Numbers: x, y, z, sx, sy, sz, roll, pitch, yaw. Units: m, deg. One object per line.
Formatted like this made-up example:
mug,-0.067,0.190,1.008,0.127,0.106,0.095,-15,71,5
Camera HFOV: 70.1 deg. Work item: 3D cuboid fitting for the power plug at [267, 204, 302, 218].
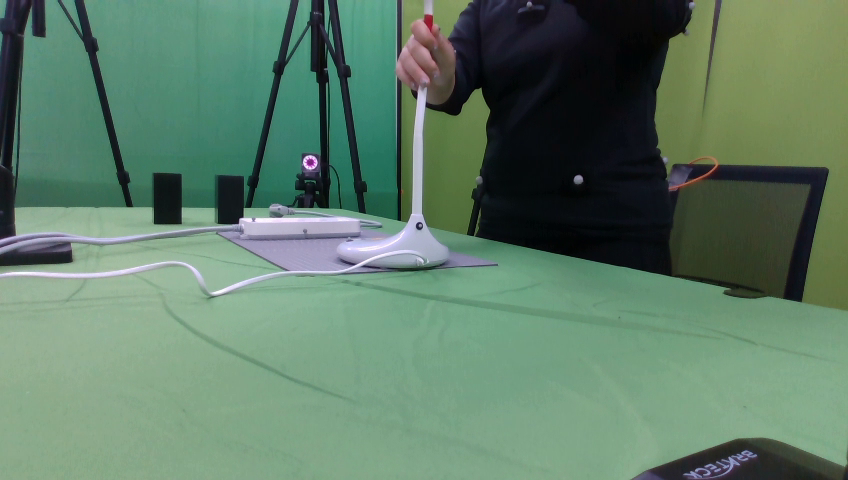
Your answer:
power plug,-0.327,-0.060,1.404,0.073,0.035,0.052,22,-14,-27

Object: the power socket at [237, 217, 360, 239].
power socket,-0.220,-0.023,1.080,0.228,0.032,0.072,-2,8,-33

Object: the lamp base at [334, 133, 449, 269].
lamp base,-0.033,-0.057,0.830,0.161,0.180,0.178,-3,12,-36
